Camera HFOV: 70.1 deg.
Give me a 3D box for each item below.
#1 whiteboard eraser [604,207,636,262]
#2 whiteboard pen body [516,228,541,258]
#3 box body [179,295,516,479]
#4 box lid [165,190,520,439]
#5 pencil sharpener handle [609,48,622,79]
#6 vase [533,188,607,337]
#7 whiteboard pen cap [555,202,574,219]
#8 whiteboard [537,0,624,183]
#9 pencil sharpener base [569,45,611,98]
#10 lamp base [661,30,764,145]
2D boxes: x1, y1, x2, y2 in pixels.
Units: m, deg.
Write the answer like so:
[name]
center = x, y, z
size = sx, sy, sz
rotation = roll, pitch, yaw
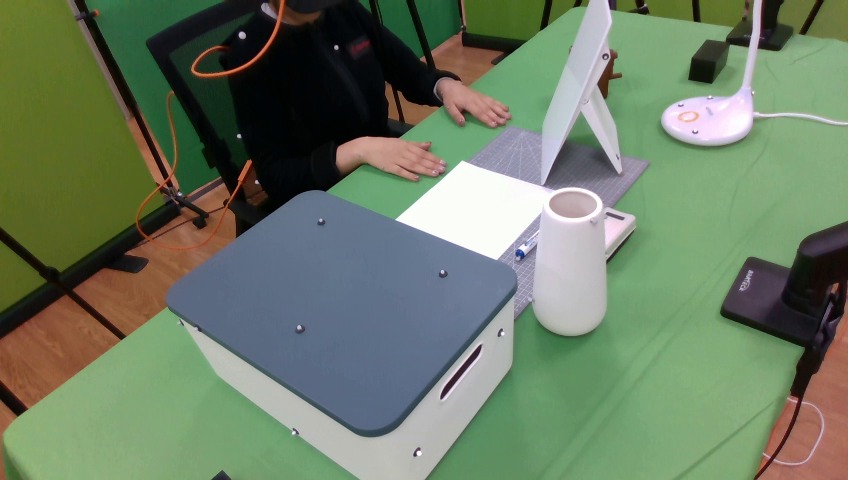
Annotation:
[whiteboard eraser]
center = 0.272, -0.003, 0.919
size = 0.055, 0.042, 0.113
rotation = 27, 51, 32
[whiteboard pen body]
center = 0.192, -0.015, 0.964
size = 0.017, 0.017, 0.141
rotation = 26, 51, 34
[box body]
center = -0.093, 0.113, 0.757
size = 0.361, 0.161, 0.255
rotation = 22, 49, 32
[box lid]
center = -0.104, 0.056, 0.711
size = 0.368, 0.015, 0.264
rotation = 22, 49, 32
[pencil sharpener handle]
center = 0.395, -0.368, 1.254
size = 0.031, 0.068, 0.036
rotation = -10, 32, -1
[vase]
center = 0.187, 0.033, 0.771
size = 0.098, 0.201, 0.097
rotation = -6, 41, 6
[whiteboard pen cap]
center = 0.230, -0.048, 0.994
size = 0.018, 0.018, 0.033
rotation = 26, 54, 34
[whiteboard]
center = 0.316, -0.256, 1.047
size = 0.144, 0.306, 0.216
rotation = 15, 42, -1
[pencil sharpener base]
center = 0.346, -0.352, 1.262
size = 0.077, 0.107, 0.061
rotation = -10, 40, -1
[lamp base]
center = 0.535, -0.287, 1.096
size = 0.179, 0.181, 0.159
rotation = -10, 40, -4
